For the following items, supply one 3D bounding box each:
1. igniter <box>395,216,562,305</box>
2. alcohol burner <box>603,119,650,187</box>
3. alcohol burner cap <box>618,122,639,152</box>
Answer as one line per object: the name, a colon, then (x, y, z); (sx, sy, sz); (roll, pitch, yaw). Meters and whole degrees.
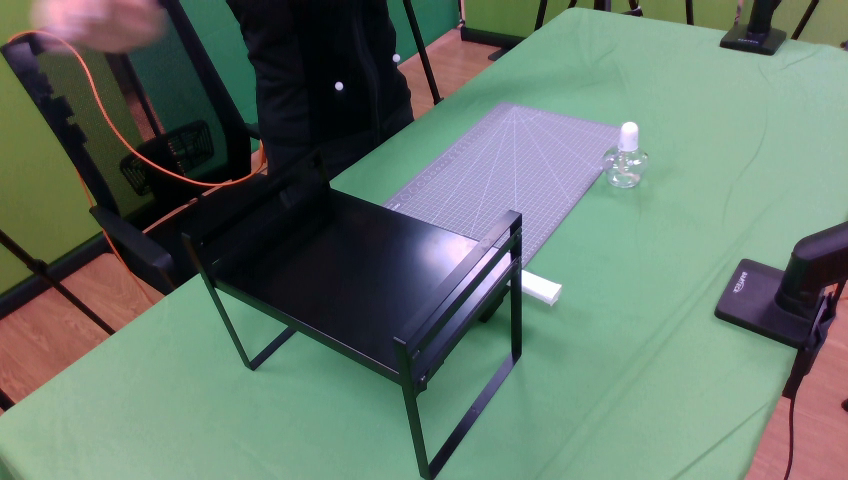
igniter: (0.066, 0.023, 0.864); (0.274, 0.025, 0.057); (24, 48, 28)
alcohol burner: (0.347, -0.151, 1.030); (0.078, 0.119, 0.077); (-5, 39, 4)
alcohol burner cap: (0.342, -0.174, 1.009); (0.034, 0.048, 0.033); (-5, 38, 4)
